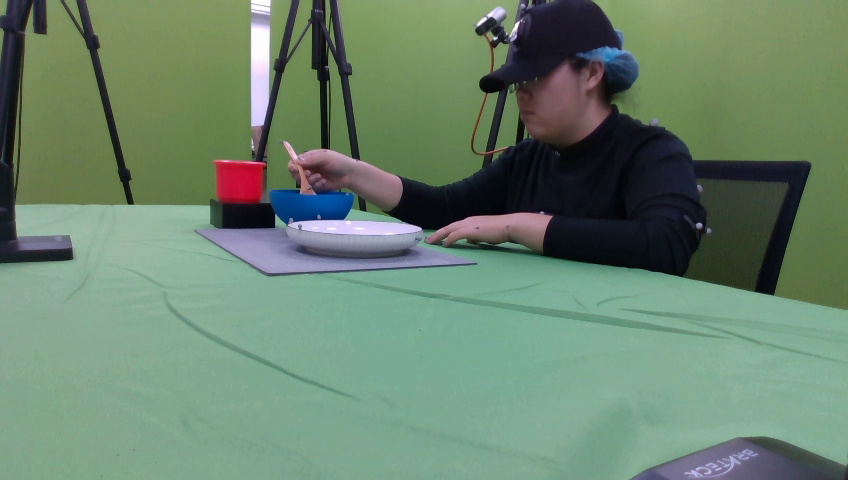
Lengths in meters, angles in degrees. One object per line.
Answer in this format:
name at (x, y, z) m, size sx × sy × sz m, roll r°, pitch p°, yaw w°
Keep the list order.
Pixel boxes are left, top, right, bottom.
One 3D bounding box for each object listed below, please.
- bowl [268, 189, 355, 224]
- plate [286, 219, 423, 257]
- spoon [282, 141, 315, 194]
bowl at (-0.201, -0.049, 1.078) m, size 0.151 × 0.077 × 0.151 m, roll 3°, pitch 7°, yaw 0°
plate at (-0.105, -0.004, 0.922) m, size 0.208 × 0.039 × 0.207 m, roll 3°, pitch 8°, yaw 0°
spoon at (-0.222, -0.120, 1.086) m, size 0.042 × 0.021 × 0.193 m, roll 0°, pitch 47°, yaw -34°
